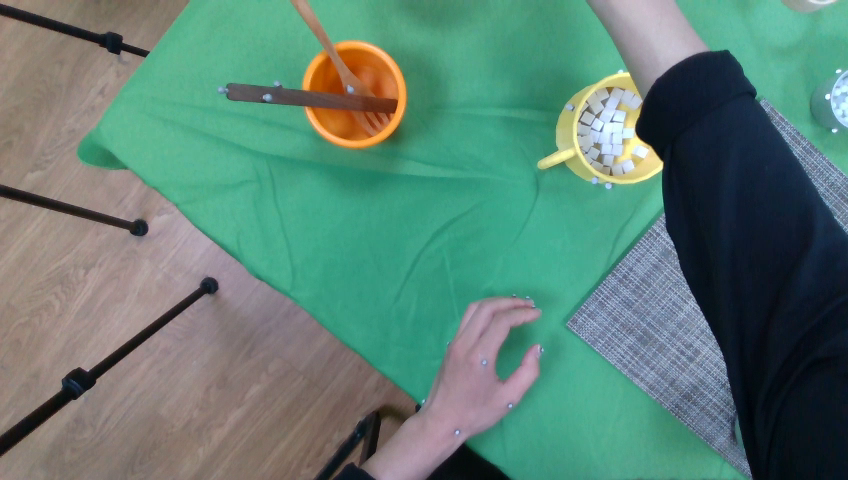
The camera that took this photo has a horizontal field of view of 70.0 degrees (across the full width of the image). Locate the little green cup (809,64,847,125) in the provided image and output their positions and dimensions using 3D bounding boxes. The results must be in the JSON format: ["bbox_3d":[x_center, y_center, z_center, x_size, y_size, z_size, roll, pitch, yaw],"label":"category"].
[{"bbox_3d":[0.415,-0.142,0.595,0.061,0.038,0.061,0,97,0],"label":"little green cup"}]

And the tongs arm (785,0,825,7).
[{"bbox_3d":[0.271,-0.386,0.529,0.051,0.026,0.385,-21,95,-2],"label":"tongs arm"}]

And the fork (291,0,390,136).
[{"bbox_3d":[-0.083,-0.168,0.524,0.028,0.018,0.209,-34,139,1],"label":"fork"}]

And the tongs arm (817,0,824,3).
[{"bbox_3d":[0.351,-0.410,0.530,0.028,0.027,0.388,-8,95,-6],"label":"tongs arm"}]

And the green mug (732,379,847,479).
[{"bbox_3d":[0.384,0.185,0.598,0.125,0.104,0.092,-33,96,3],"label":"green mug"}]

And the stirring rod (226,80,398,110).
[{"bbox_3d":[-0.091,-0.127,0.535,0.177,0.006,0.014,-7,101,-43],"label":"stirring rod"}]

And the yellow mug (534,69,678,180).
[{"bbox_3d":[0.167,-0.102,0.581,0.131,0.064,0.100,-24,97,3],"label":"yellow mug"}]
